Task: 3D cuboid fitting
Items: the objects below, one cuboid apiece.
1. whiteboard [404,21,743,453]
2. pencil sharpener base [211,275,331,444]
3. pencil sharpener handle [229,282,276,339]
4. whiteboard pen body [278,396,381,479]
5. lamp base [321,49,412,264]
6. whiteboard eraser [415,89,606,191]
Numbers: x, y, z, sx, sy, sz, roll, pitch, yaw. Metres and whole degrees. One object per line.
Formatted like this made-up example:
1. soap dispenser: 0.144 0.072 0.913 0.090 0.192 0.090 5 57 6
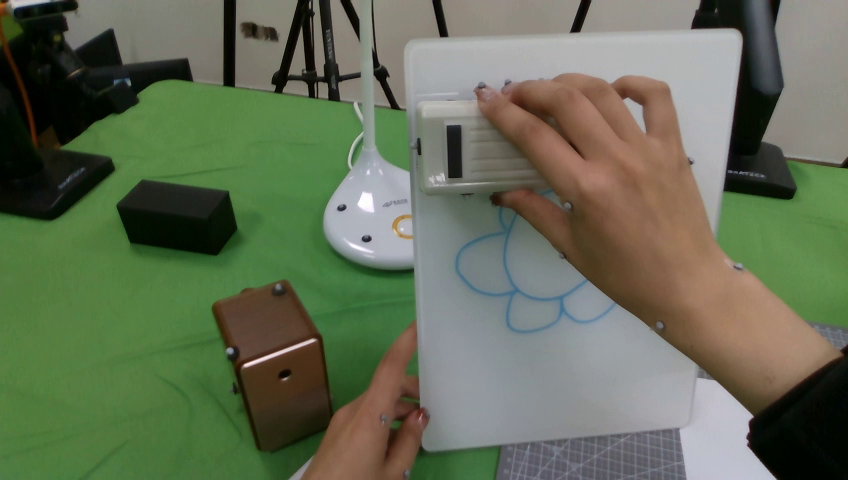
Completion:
1. whiteboard: 0.094 -0.010 0.485 0.217 0.307 0.143 -4 21 -4
2. pencil sharpener base: -0.116 0.091 0.466 0.061 0.108 0.076 -19 44 -22
3. pencil sharpener handle: -0.139 0.052 0.493 0.036 0.068 0.030 -25 46 -17
4. whiteboard pen body: -0.082 0.163 0.446 0.017 0.017 0.140 26 42 27
5. lamp base: -0.039 -0.094 0.635 0.161 0.182 0.177 -23 43 -26
6. whiteboard eraser: 0.052 -0.061 0.368 0.113 0.056 0.041 -4 16 -5
